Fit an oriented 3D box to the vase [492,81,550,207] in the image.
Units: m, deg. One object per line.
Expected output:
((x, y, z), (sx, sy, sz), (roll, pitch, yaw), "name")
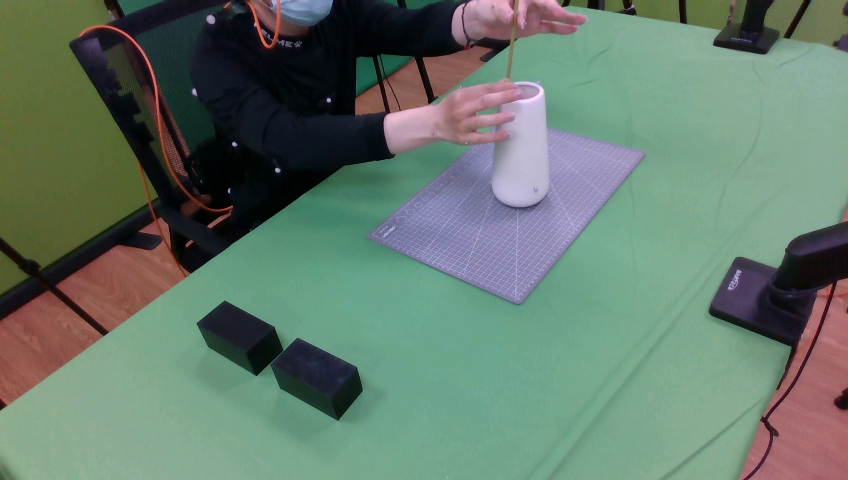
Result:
((0.159, -0.151, 0.982), (0.098, 0.201, 0.097), (-3, 41, 3), "vase")

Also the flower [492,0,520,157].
((0.125, -0.269, 0.878), (0.044, 0.363, 0.038), (18, 46, 14), "flower")
